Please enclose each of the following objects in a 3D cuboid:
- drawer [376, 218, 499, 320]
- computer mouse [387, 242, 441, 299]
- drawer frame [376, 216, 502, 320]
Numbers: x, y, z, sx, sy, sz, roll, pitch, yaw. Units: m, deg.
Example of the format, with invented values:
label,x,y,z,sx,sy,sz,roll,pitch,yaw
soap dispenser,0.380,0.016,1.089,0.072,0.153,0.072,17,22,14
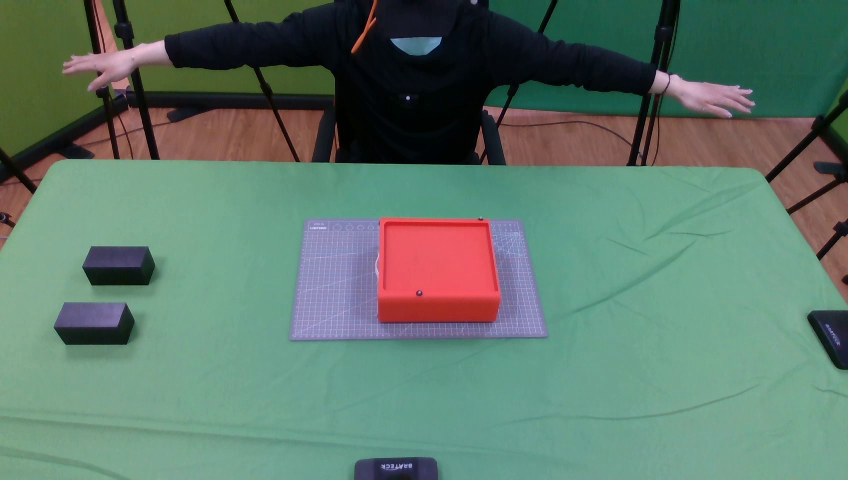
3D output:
label,x,y,z,sx,sy,sz,roll,pitch,yaw
drawer,0.019,0.050,1.102,0.212,0.073,0.193,1,46,-3
computer mouse,-0.018,0.053,1.113,0.062,0.041,0.117,26,58,10
drawer frame,0.021,0.049,1.102,0.214,0.083,0.200,1,46,-4
